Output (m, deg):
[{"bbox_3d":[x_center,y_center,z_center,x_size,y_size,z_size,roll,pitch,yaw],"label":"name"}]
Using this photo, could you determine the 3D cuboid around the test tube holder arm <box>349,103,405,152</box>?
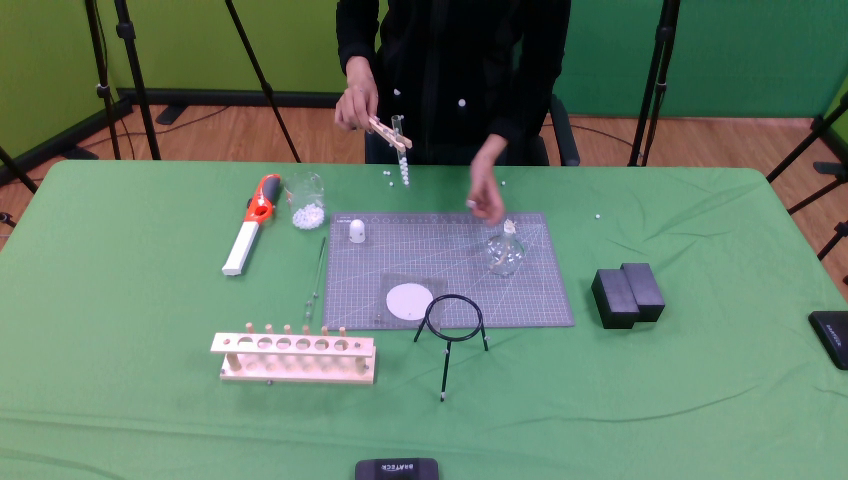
[{"bbox_3d":[-0.090,-0.209,1.114,0.013,0.015,0.177,-30,51,-25],"label":"test tube holder arm"}]

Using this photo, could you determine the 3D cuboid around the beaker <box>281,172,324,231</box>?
[{"bbox_3d":[-0.234,-0.073,1.199,0.084,0.101,0.074,24,50,17],"label":"beaker"}]

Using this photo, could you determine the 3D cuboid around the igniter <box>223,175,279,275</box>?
[{"bbox_3d":[-0.341,-0.039,1.207,0.057,0.025,0.275,-1,45,8],"label":"igniter"}]

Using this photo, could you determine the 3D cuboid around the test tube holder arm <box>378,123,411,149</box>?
[{"bbox_3d":[-0.057,-0.189,1.091,0.010,0.015,0.087,-36,54,-29],"label":"test tube holder arm"}]

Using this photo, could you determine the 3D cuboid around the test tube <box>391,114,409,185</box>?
[{"bbox_3d":[-0.043,-0.159,1.092,0.017,0.151,0.017,-4,45,4],"label":"test tube"}]

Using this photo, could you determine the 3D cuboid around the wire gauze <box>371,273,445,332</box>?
[{"bbox_3d":[-0.028,0.108,1.100,0.125,0.011,0.121,7,45,4],"label":"wire gauze"}]

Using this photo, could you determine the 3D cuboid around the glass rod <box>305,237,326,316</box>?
[{"bbox_3d":[-0.202,0.063,1.131,0.008,0.008,0.198,3,44,0],"label":"glass rod"}]

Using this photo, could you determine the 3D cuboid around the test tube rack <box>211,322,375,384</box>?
[{"bbox_3d":[-0.203,0.176,0.969,0.242,0.085,0.066,3,46,-2],"label":"test tube rack"}]

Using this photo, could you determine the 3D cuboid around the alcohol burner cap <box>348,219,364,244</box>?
[{"bbox_3d":[-0.134,-0.019,1.190,0.034,0.048,0.033,2,46,-2],"label":"alcohol burner cap"}]

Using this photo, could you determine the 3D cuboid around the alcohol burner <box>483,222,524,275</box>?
[{"bbox_3d":[0.152,0.009,1.135,0.078,0.119,0.077,4,46,-4],"label":"alcohol burner"}]

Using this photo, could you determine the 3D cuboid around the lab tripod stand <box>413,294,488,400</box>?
[{"bbox_3d":[0.044,0.159,0.972,0.148,0.132,0.147,2,44,-2],"label":"lab tripod stand"}]
